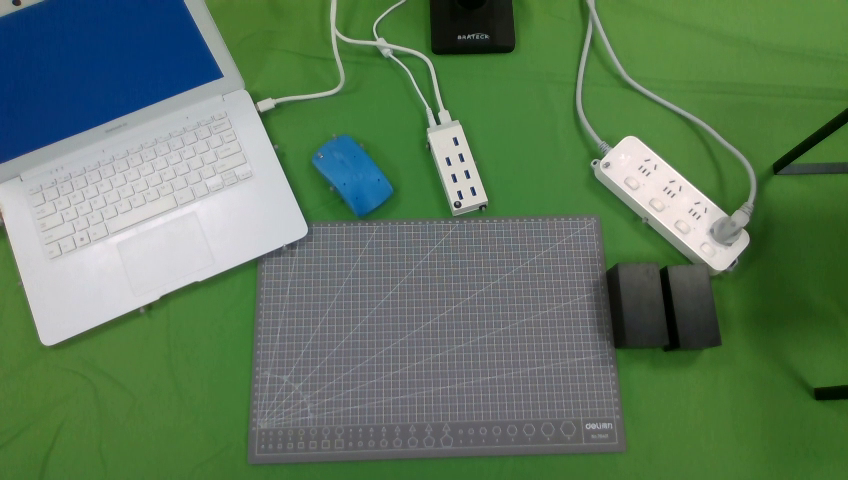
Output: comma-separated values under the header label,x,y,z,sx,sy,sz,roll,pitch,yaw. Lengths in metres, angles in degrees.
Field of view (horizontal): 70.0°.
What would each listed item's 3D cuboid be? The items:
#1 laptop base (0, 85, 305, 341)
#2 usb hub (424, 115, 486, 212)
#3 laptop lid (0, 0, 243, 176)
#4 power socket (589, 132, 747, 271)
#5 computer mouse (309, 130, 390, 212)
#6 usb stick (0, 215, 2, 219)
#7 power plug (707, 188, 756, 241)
label,x,y,z,sx,sy,sz,roll,pitch,yaw
laptop base,-0.358,-0.043,0.794,0.354,0.023,0.234,-24,79,-7
usb hub,0.040,-0.103,0.811,0.049,0.025,0.124,-17,75,-4
laptop lid,-0.420,-0.205,0.719,0.357,0.244,0.013,-25,61,-6
power socket,0.320,-0.052,0.797,0.072,0.033,0.226,-43,79,-12
computer mouse,-0.100,-0.094,0.801,0.063,0.041,0.116,-37,74,-9
usb stick,-0.564,-0.034,0.775,0.059,0.027,0.021,-24,79,-12
power plug,0.394,-0.026,0.771,0.072,0.053,0.035,-32,76,-11
